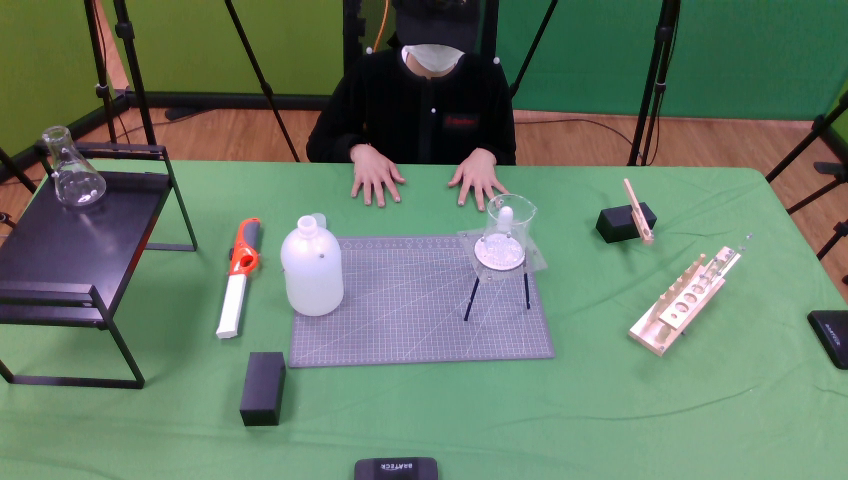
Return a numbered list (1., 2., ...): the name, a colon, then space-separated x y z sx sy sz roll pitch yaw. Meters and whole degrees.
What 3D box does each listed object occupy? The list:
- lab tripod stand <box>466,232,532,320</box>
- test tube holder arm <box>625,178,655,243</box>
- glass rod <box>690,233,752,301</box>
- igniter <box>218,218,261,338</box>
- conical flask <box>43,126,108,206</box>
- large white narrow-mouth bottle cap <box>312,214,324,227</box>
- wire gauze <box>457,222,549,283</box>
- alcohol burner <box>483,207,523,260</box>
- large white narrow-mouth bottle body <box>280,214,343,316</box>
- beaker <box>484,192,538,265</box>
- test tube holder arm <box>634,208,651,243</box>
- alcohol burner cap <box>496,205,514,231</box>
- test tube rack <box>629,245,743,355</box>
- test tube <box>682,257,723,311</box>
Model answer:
1. lab tripod stand: 0.125 0.059 1.065 0.148 0.132 0.147 1 45 0
2. test tube holder arm: 0.433 -0.062 1.220 0.013 0.015 0.177 1 47 -3
3. glass rod: 0.507 0.053 1.041 0.008 0.200 0.008 5 51 -6
4. igniter: -0.336 0.060 1.111 0.057 0.025 0.274 -8 46 4
5. conical flask: -0.555 -0.119 0.953 0.075 0.122 0.075 2 46 -2
6. large white narrow-mouth bottle cap: -0.219 -0.033 1.214 0.038 0.024 0.037 2 46 -2
7. wire gauze: 0.131 0.016 1.017 0.121 0.011 0.124 -10 44 -16
8. alcohol burner: 0.152 -0.018 1.156 0.078 0.120 0.077 0 47 0
9. large white narrow-mouth bottle body: -0.190 0.035 1.025 0.102 0.195 0.101 2 46 -2
10. beaker: 0.137 -0.016 0.980 0.084 0.101 0.073 -6 45 -9
11. test tube holder arm: 0.428 -0.030 1.189 0.010 0.015 0.087 1 47 -2
12. alcohol burner cap: 0.153 -0.044 1.131 0.034 0.048 0.033 2 40 -1
13. test tube rack: 0.474 0.095 1.091 0.242 0.085 0.066 -34 56 -31
14. test tube: 0.475 0.080 1.037 0.017 0.151 0.017 1 50 -1
